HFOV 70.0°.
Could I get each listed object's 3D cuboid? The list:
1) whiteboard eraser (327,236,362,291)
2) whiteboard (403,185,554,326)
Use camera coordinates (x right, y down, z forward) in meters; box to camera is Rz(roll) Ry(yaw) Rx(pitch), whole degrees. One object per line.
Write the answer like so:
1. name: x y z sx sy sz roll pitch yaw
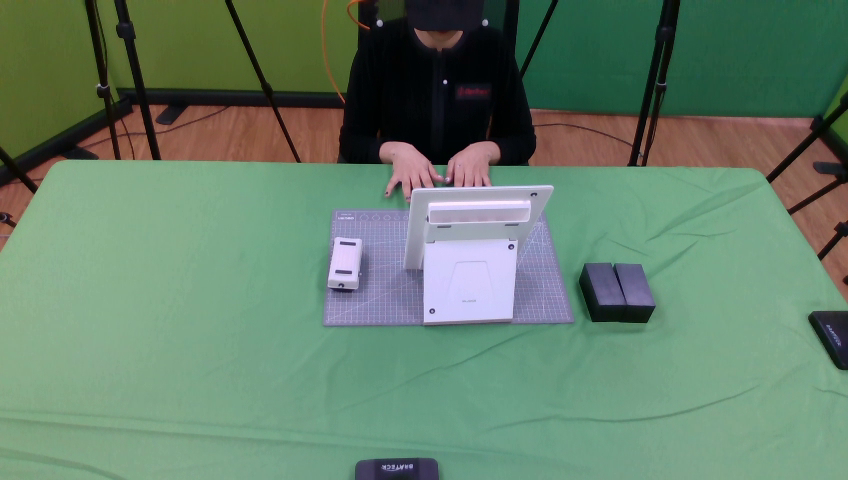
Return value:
1. whiteboard eraser: -0.147 0.044 1.127 0.055 0.042 0.112 2 46 -2
2. whiteboard: 0.081 0.044 1.005 0.217 0.306 0.143 -1 65 -5
